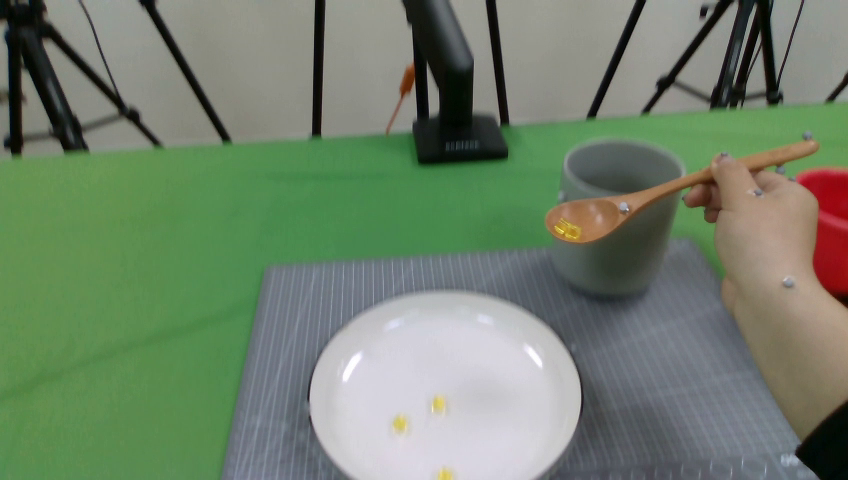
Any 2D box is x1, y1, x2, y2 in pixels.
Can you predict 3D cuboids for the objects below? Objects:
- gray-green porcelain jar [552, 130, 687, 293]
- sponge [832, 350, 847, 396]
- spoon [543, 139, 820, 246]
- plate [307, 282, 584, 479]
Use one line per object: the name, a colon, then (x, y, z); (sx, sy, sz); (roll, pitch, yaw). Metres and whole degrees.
gray-green porcelain jar: (0.176, -0.022, 0.567); (0.106, 0.127, 0.105); (-1, 39, 1)
sponge: (0.406, 0.146, 0.409); (0.118, 0.061, 0.204); (-6, 39, -6)
spoon: (0.179, -0.036, 0.428); (0.193, 0.022, 0.041); (-20, 48, 12)
plate: (0.016, 0.116, 0.472); (0.208, 0.039, 0.205); (-1, 39, 1)
